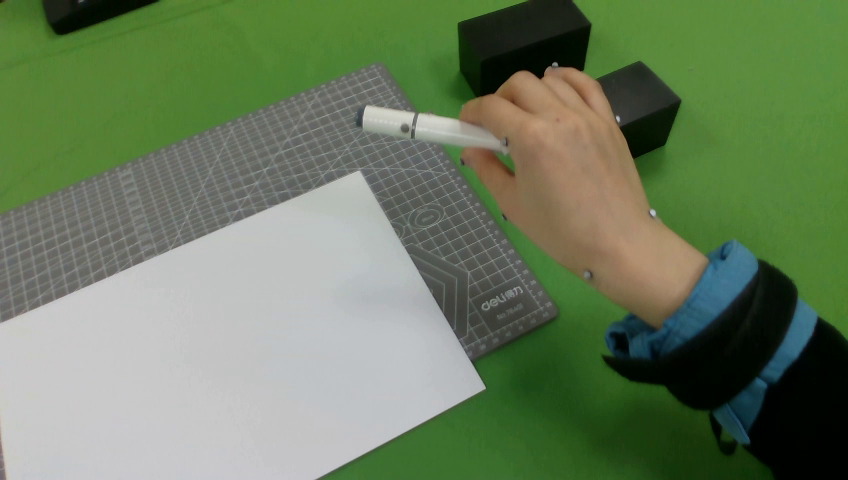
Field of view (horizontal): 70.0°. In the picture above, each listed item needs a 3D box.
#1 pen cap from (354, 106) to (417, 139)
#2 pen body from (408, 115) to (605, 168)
[{"bbox_3d":[-0.024,-0.074,0.378,0.038,0.017,0.017,12,60,9],"label":"pen cap"},{"bbox_3d":[0.036,-0.062,0.370,0.144,0.017,0.017,11,60,9],"label":"pen body"}]
